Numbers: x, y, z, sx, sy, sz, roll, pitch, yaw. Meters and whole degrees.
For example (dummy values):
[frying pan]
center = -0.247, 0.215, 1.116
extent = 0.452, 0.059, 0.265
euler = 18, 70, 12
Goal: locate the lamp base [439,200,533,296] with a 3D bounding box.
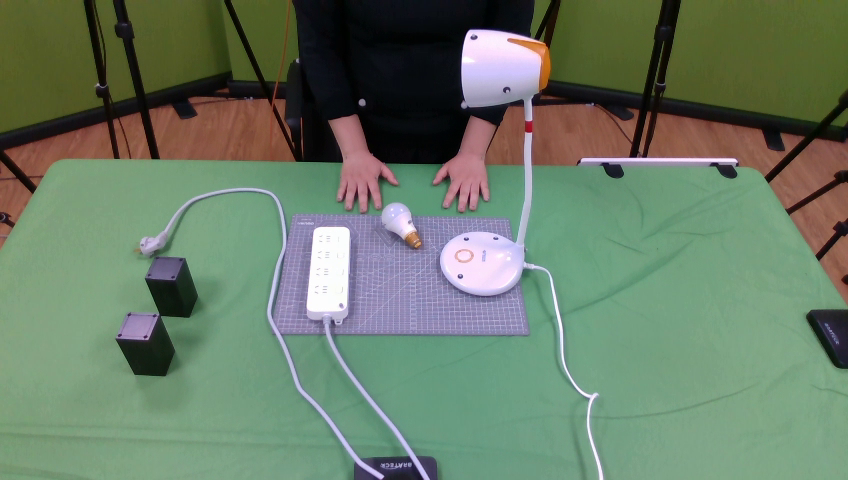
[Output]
[lamp base]
center = 0.126, -0.011, 1.103
extent = 0.179, 0.181, 0.159
euler = 2, 45, -6

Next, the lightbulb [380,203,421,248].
[lightbulb]
center = -0.043, -0.026, 1.197
extent = 0.059, 0.060, 0.107
euler = -29, 69, -28

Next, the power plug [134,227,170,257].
[power plug]
center = -0.515, 0.006, 1.152
extent = 0.052, 0.035, 0.072
euler = -6, 23, 7

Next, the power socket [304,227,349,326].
[power socket]
center = -0.177, 0.059, 1.115
extent = 0.072, 0.033, 0.225
euler = -1, 46, -4

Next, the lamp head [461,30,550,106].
[lamp head]
center = 0.122, -0.250, 0.893
extent = 0.123, 0.113, 0.112
euler = 8, 45, 14
